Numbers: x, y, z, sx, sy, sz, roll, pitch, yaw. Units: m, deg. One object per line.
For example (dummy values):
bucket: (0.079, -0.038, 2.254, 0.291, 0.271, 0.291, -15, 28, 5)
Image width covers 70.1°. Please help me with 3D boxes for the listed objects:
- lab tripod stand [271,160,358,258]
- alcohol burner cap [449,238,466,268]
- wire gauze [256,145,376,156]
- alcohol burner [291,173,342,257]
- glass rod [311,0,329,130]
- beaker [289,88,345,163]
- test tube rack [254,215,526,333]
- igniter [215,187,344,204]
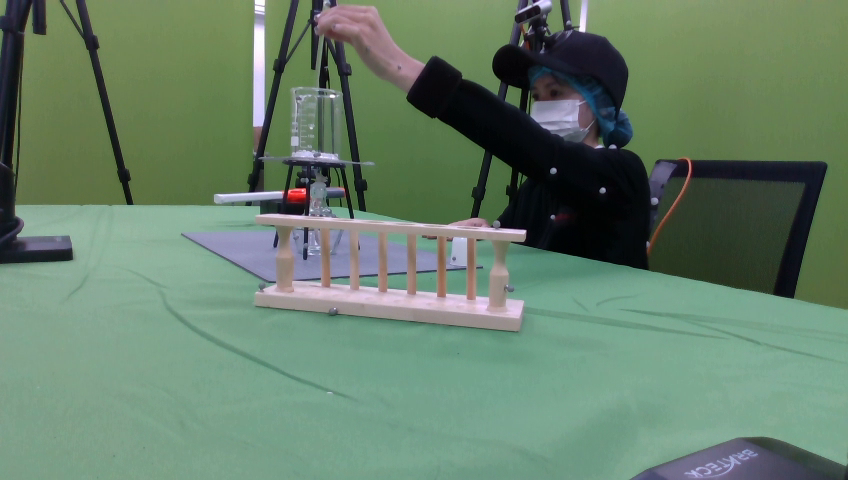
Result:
lab tripod stand: (-0.159, -0.048, 0.876, 0.148, 0.131, 0.148, 3, 5, 0)
alcohol burner cap: (0.051, 0.015, 0.827, 0.034, 0.048, 0.034, 2, 5, 0)
wire gauze: (-0.155, -0.128, 0.871, 0.124, 0.011, 0.122, 2, 8, 36)
alcohol burner: (-0.155, -0.037, 0.870, 0.078, 0.119, 0.078, 1, 6, 0)
glass rod: (-0.145, -0.255, 0.851, 0.008, 0.199, 0.008, 8, 13, -2)
beaker: (-0.157, -0.160, 0.862, 0.083, 0.100, 0.074, 7, 7, 34)
test tube rack: (-0.030, 0.025, 0.557, 0.242, 0.085, 0.067, 4, 7, 12)
igniter: (-0.290, -0.093, 1.256, 0.278, 0.025, 0.057, -6, 12, -35)
